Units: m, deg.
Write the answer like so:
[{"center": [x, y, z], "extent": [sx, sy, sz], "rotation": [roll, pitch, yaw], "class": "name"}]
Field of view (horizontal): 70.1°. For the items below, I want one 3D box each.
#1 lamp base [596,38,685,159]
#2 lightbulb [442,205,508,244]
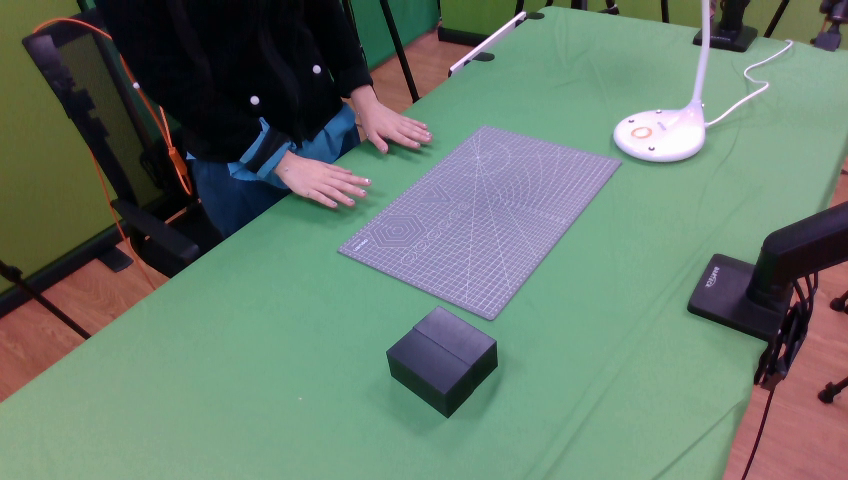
[{"center": [0.408, -0.264, 1.094], "extent": [0.180, 0.181, 0.159], "rotation": [-29, 45, -27], "class": "lamp base"}, {"center": [0.080, -0.019, 0.955], "extent": [0.107, 0.059, 0.059], "rotation": [18, 44, 5], "class": "lightbulb"}]
